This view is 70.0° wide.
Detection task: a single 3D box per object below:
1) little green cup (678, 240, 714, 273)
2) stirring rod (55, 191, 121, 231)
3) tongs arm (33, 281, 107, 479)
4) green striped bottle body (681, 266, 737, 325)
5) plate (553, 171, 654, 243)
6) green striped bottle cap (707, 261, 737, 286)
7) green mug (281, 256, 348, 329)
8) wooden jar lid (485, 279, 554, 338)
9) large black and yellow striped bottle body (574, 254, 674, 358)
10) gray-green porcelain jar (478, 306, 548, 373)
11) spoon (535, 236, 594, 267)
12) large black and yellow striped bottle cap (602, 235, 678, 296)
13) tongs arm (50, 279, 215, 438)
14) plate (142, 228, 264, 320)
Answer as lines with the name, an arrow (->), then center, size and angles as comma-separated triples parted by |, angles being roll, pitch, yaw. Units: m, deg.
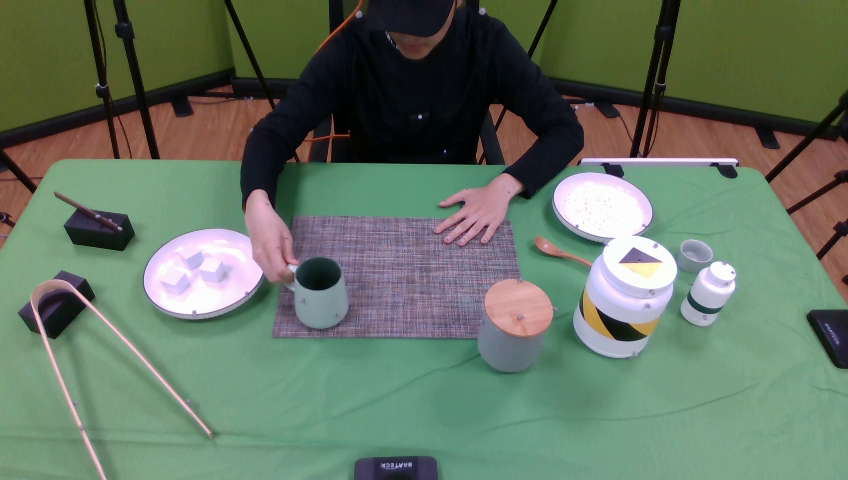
little green cup -> 0.530, 0.033, 1.190 | 0.061, 0.039, 0.061 | 2, 46, -1
stirring rod -> -0.632, -0.055, 1.138 | 0.175, 0.014, 0.006 | 24, 50, 19
tongs arm -> -0.517, 0.214, 0.910 | 0.051, 0.026, 0.383 | -28, 63, -27
green striped bottle body -> 0.507, 0.093, 1.074 | 0.063, 0.120, 0.063 | 2, 46, -2
plate -> 0.373, -0.066, 1.275 | 0.209, 0.038, 0.208 | 2, 46, -2
green striped bottle cap -> 0.510, 0.058, 1.036 | 0.044, 0.020, 0.044 | 0, 45, 0
green mug -> -0.192, 0.084, 1.038 | 0.125, 0.105, 0.092 | 23, 49, 17
wooden jar lid -> 0.147, 0.108, 0.940 | 0.108, 0.021, 0.107 | 4, 47, -4
large black and yellow striped bottle body -> 0.335, 0.096, 1.014 | 0.131, 0.185, 0.130 | 2, 46, -2
gray-green porcelain jar -> 0.144, 0.148, 0.989 | 0.106, 0.127, 0.105 | 2, 50, -2
spoon -> 0.303, 0.040, 1.178 | 0.193, 0.022, 0.041 | 25, 31, 19
large black and yellow striped bottle cap -> 0.340, 0.037, 0.956 | 0.115, 0.019, 0.114 | 2, 47, -2
tongs arm -> -0.459, 0.178, 0.950 | 0.386, 0.028, 0.028 | 37, 60, 17
plate -> -0.395, 0.064, 1.095 | 0.208, 0.039, 0.206 | 2, 46, -2
